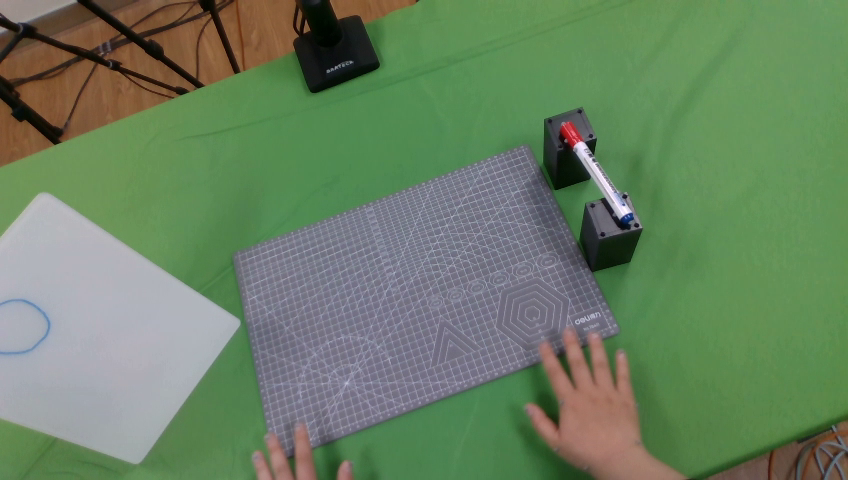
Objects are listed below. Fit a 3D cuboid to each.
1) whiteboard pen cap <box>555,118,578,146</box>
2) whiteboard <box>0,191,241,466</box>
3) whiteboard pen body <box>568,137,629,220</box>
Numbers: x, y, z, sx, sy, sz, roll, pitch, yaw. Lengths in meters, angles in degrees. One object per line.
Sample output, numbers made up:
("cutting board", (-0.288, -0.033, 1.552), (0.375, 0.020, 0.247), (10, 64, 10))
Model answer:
("whiteboard pen cap", (0.173, -0.131, 0.734), (0.017, 0.017, 0.032), (-25, 66, -2))
("whiteboard", (-0.419, 0.100, 0.721), (0.142, 0.309, 0.216), (20, 70, 39))
("whiteboard pen body", (0.197, -0.082, 0.709), (0.017, 0.017, 0.139), (-26, 65, -2))
